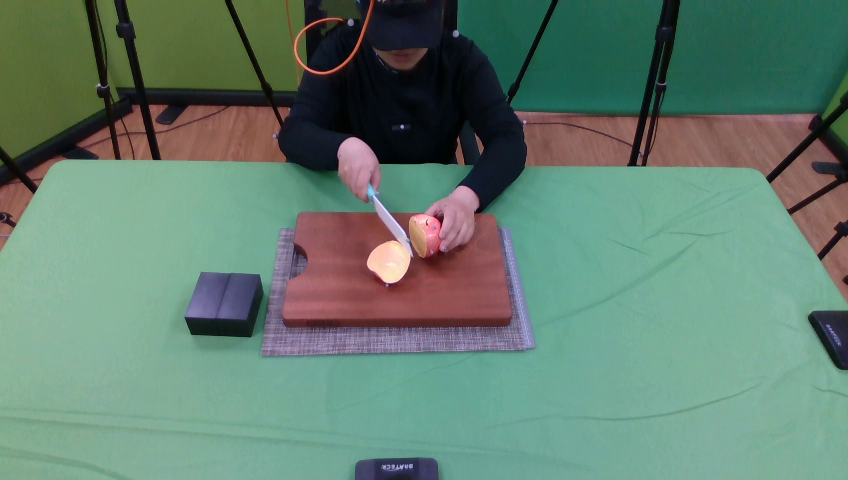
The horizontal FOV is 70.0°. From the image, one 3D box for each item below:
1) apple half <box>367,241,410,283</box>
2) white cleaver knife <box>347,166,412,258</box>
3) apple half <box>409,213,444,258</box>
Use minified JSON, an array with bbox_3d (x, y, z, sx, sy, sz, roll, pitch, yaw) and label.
[{"bbox_3d":[-0.059,0.043,1.100,0.081,0.033,0.081,-3,67,7],"label":"apple half"},{"bbox_3d":[-0.087,-0.056,1.115,0.021,0.066,0.284,-23,40,-12],"label":"white cleaver knife"},{"bbox_3d":[0.010,-0.009,1.134,0.053,0.075,0.080,-15,45,-23],"label":"apple half"}]
